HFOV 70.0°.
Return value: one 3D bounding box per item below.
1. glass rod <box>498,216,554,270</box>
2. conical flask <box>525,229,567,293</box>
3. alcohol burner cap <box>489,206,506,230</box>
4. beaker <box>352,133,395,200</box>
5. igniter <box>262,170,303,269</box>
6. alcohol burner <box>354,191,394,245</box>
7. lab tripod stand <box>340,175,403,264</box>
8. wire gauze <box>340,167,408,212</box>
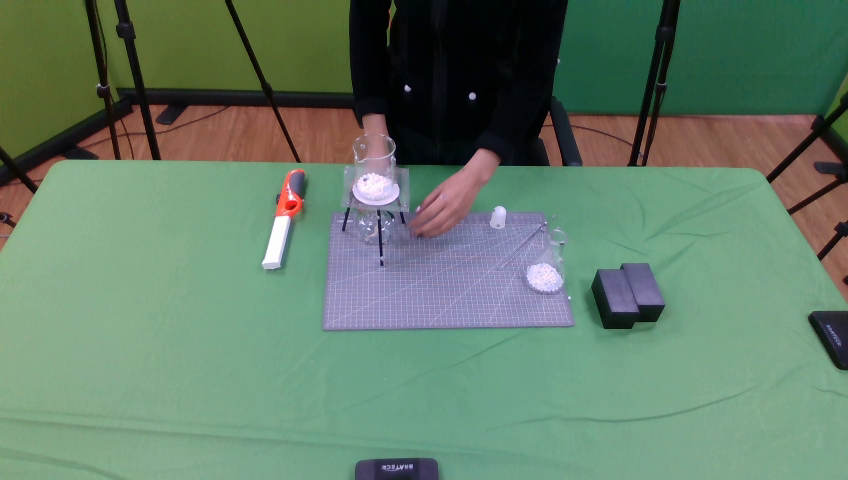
[{"bbox_3d":[0.208,0.003,1.220,0.008,0.008,0.199,32,52,25],"label":"glass rod"},{"bbox_3d":[0.231,0.036,1.110,0.075,0.122,0.075,2,46,-2],"label":"conical flask"},{"bbox_3d":[0.152,-0.047,1.241,0.034,0.048,0.033,2,45,-2],"label":"alcohol burner cap"},{"bbox_3d":[-0.091,-0.126,1.074,0.074,0.101,0.084,26,48,21],"label":"beaker"},{"bbox_3d":[-0.283,-0.050,1.222,0.057,0.025,0.275,-5,45,6],"label":"igniter"},{"bbox_3d":[-0.096,-0.048,1.171,0.078,0.119,0.077,4,45,-4],"label":"alcohol burner"},{"bbox_3d":[-0.094,-0.050,1.160,0.148,0.132,0.147,2,44,-2],"label":"lab tripod stand"},{"bbox_3d":[-0.091,-0.095,1.111,0.125,0.011,0.120,1,43,-2],"label":"wire gauze"}]
